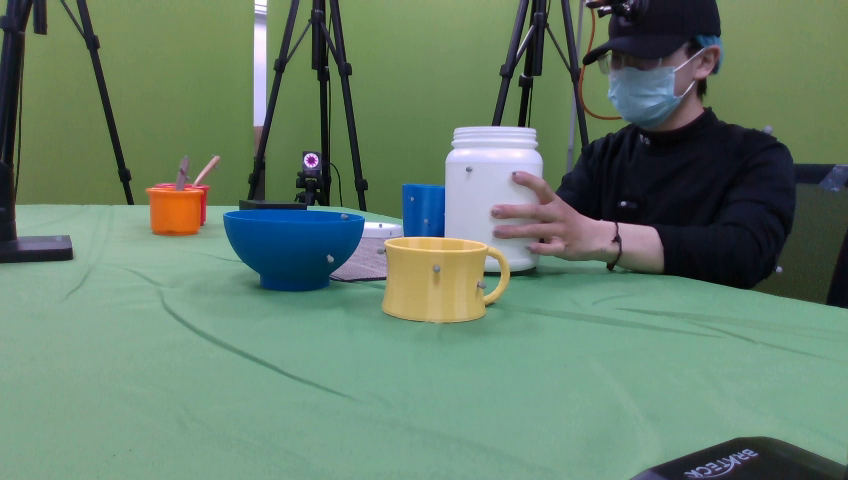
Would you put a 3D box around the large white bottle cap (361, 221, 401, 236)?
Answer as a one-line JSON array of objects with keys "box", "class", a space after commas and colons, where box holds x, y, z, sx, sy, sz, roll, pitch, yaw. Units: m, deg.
[{"box": [-0.099, -0.021, 1.123, 0.115, 0.018, 0.115, 2, 7, 0], "class": "large white bottle cap"}]

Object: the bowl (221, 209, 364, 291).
[{"box": [-0.142, 0.011, 0.660, 0.151, 0.077, 0.151, 2, 7, 0], "class": "bowl"}]

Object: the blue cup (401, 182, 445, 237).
[{"box": [0.002, -0.038, 0.966, 0.093, 0.100, 0.092, 4, 9, 0], "class": "blue cup"}]

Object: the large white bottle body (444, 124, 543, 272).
[{"box": [0.092, -0.058, 0.807, 0.131, 0.184, 0.130, 1, 6, 0], "class": "large white bottle body"}]

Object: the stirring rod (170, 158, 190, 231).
[{"box": [-0.426, -0.083, 1.059, 0.014, 0.006, 0.175, 2, 49, -13], "class": "stirring rod"}]

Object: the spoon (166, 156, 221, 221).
[{"box": [-0.447, -0.104, 1.192, 0.041, 0.022, 0.193, 7, 52, 14], "class": "spoon"}]

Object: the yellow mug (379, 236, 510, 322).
[{"box": [0.024, 0.034, 0.575, 0.131, 0.064, 0.099, 1, 7, -22], "class": "yellow mug"}]
